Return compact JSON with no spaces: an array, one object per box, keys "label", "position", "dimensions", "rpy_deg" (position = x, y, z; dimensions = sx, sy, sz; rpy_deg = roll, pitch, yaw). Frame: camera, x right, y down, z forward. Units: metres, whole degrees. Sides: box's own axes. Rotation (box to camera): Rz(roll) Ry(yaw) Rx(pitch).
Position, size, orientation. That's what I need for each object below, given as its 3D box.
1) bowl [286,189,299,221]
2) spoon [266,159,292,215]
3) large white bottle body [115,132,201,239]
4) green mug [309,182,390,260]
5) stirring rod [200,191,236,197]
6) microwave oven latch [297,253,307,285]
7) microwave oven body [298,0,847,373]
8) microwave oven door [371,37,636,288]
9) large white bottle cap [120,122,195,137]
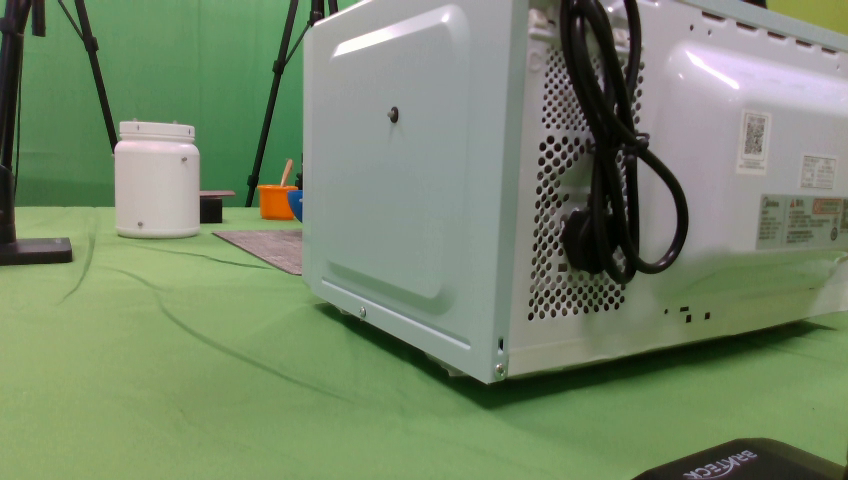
[{"label":"bowl","position":[-0.179,-0.051,1.115],"dimensions":[0.151,0.077,0.151],"rpy_deg":[3,8,0]},{"label":"spoon","position":[-0.334,-0.127,1.423],"dimensions":[0.041,0.193,0.022],"rpy_deg":[0,-38,7]},{"label":"large white bottle body","position":[-0.447,-0.100,1.020],"dimensions":[0.131,0.184,0.130],"rpy_deg":[3,7,0]},{"label":"green mug","position":[-0.102,-0.029,0.864],"dimensions":[0.126,0.105,0.092],"rpy_deg":[-4,9,-40]},{"label":"stirring rod","position":[-0.465,-0.098,1.283],"dimensions":[0.014,0.006,0.177],"rpy_deg":[41,21,17]},{"label":"microwave oven latch","position":[-0.082,0.027,0.583],"dimensions":[0.079,0.029,0.030],"rpy_deg":[-1,8,-33]},{"label":"microwave oven body","position":[0.151,-0.055,0.543],"dimensions":[0.444,0.260,0.324],"rpy_deg":[-1,7,-33]},{"label":"microwave oven door","position":[0.109,-0.080,0.687],"dimensions":[0.358,0.243,0.039],"rpy_deg":[-2,9,-33]},{"label":"large white bottle cap","position":[-0.444,-0.183,1.010],"dimensions":[0.115,0.018,0.115],"rpy_deg":[2,7,0]}]
